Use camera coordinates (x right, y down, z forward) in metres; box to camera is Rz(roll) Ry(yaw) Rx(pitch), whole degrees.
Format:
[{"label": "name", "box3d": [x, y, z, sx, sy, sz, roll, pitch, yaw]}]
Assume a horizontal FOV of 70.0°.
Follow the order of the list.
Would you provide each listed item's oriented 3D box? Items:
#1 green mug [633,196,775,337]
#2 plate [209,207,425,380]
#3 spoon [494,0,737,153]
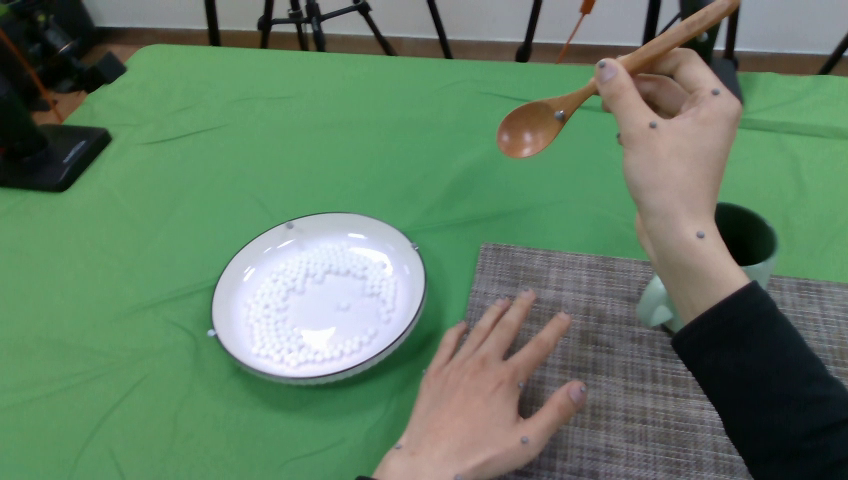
[{"label": "green mug", "box3d": [0.238, 0.032, 0.535, 0.125, 0.106, 0.091, -25, 50, -17]}, {"label": "plate", "box3d": [-0.101, 0.051, 0.598, 0.209, 0.038, 0.207, -2, 47, 3]}, {"label": "spoon", "box3d": [0.129, -0.117, 0.437, 0.022, 0.193, 0.041, -19, 83, -49]}]
